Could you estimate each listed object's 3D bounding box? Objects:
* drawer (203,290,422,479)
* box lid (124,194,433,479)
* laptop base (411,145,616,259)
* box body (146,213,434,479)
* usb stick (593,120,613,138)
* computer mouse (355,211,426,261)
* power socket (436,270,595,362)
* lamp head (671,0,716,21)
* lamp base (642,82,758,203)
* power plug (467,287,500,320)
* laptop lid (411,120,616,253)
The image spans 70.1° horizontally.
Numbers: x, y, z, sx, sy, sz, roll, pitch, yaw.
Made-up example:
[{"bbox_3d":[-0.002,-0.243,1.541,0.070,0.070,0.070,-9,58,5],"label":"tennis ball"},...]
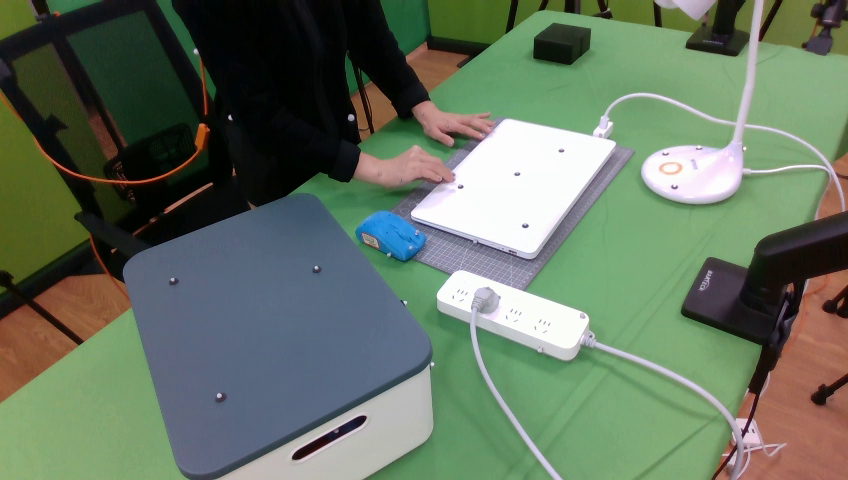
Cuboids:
[{"bbox_3d":[-0.136,0.188,0.740,0.195,0.073,0.210,-24,52,-22],"label":"drawer"},{"bbox_3d":[-0.182,0.076,0.689,0.264,0.015,0.368,-24,42,-20],"label":"box lid"},{"bbox_3d":[0.168,-0.101,1.073,0.234,0.023,0.355,17,46,31],"label":"laptop base"},{"bbox_3d":[-0.175,0.131,0.738,0.255,0.161,0.360,-25,43,-19],"label":"box body"},{"bbox_3d":[0.336,-0.201,1.147,0.021,0.027,0.059,26,54,26],"label":"usb stick"},{"bbox_3d":[-0.055,-0.010,0.979,0.116,0.041,0.063,27,49,29],"label":"computer mouse"},{"bbox_3d":[0.118,0.101,0.832,0.225,0.033,0.072,19,48,27],"label":"power socket"},{"bbox_3d":[0.375,-0.373,0.807,0.122,0.113,0.112,-40,27,32],"label":"lamp head"},{"bbox_3d":[0.464,-0.174,0.992,0.179,0.181,0.159,-5,41,-1],"label":"lamp base"},{"bbox_3d":[0.073,0.092,0.814,0.035,0.053,0.073,29,54,34],"label":"power plug"},{"bbox_3d":[0.165,-0.113,1.066,0.240,0.013,0.357,20,47,30],"label":"laptop lid"}]
